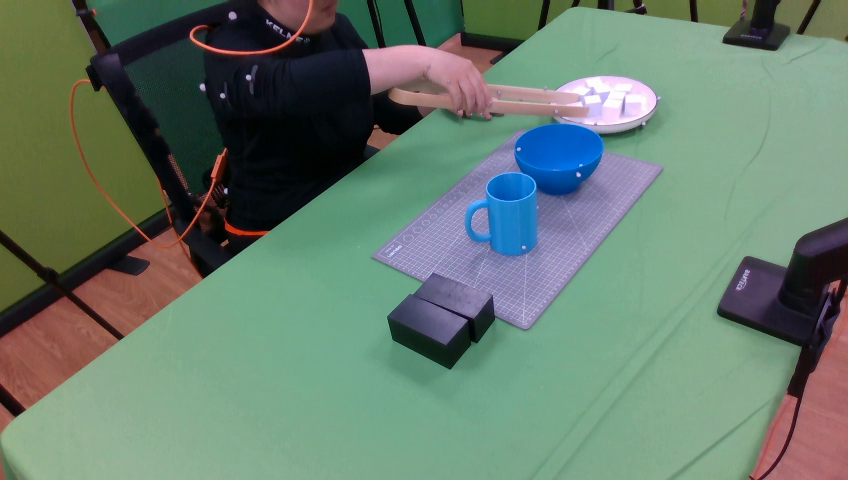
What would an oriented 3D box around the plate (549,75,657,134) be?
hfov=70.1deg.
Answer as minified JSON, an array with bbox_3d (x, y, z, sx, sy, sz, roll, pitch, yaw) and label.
[{"bbox_3d":[0.357,-0.269,1.220,0.209,0.038,0.208,-5,41,5],"label":"plate"}]

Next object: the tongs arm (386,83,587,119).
[{"bbox_3d":[0.123,-0.255,1.128,0.389,0.028,0.028,3,46,-13],"label":"tongs arm"}]

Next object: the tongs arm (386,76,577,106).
[{"bbox_3d":[0.118,-0.277,1.152,0.386,0.026,0.050,4,42,-12],"label":"tongs arm"}]

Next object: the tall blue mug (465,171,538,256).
[{"bbox_3d":[0.125,-0.033,0.925,0.107,0.108,0.077,-32,46,-25],"label":"tall blue mug"}]

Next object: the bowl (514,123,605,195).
[{"bbox_3d":[0.232,-0.131,1.045,0.151,0.077,0.150,-5,40,5],"label":"bowl"}]
